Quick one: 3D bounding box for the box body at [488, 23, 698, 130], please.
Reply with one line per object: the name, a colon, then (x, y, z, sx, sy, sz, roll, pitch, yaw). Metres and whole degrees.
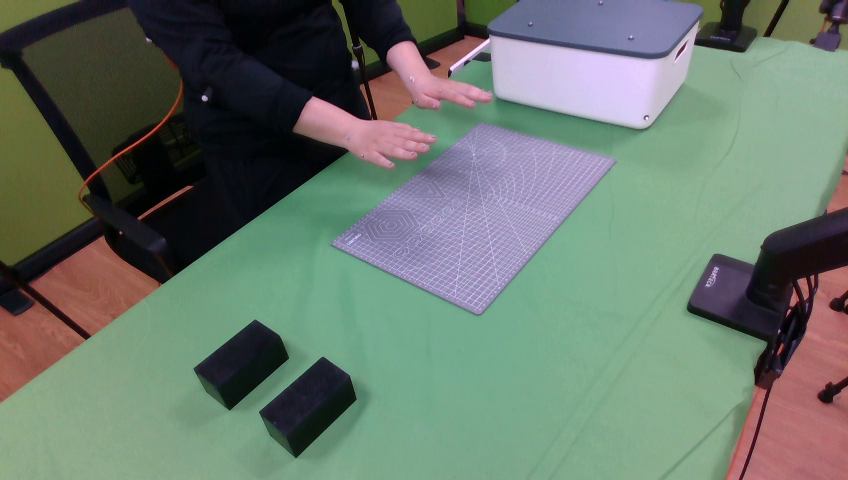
box body: (0.345, -0.379, 1.257, 0.361, 0.161, 0.255, 20, 48, 29)

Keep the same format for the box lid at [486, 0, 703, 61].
box lid: (0.338, -0.435, 1.208, 0.369, 0.015, 0.264, 20, 47, 29)
